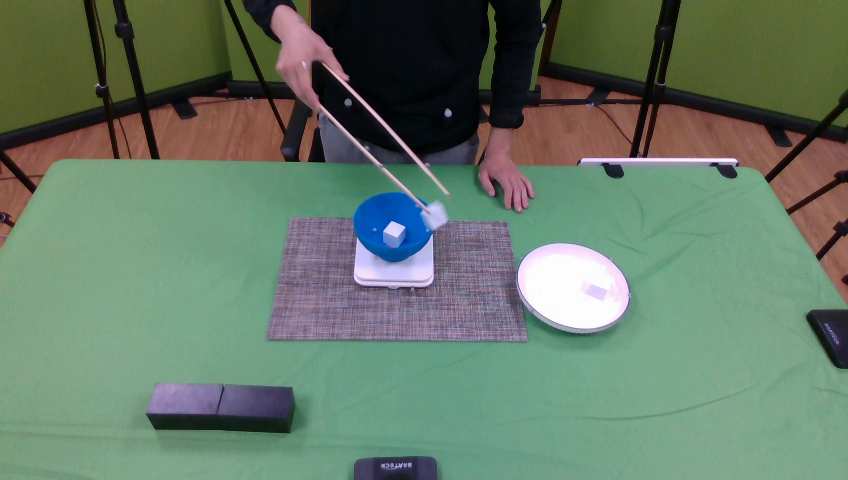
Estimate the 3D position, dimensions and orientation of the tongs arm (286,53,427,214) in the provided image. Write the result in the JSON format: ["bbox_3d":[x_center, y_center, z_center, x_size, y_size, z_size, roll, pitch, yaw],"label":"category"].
[{"bbox_3d":[-0.117,-0.190,1.058,0.383,0.026,0.051,43,91,14],"label":"tongs arm"}]

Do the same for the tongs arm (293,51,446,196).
[{"bbox_3d":[-0.096,-0.209,1.058,0.028,0.028,0.386,-45,76,5],"label":"tongs arm"}]

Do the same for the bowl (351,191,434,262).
[{"bbox_3d":[-0.058,-0.013,1.120,0.151,0.077,0.150,1,46,-1],"label":"bowl"}]

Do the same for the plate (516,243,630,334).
[{"bbox_3d":[0.272,0.092,1.120,0.208,0.039,0.206,2,46,-2],"label":"plate"}]

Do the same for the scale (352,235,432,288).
[{"bbox_3d":[-0.060,0.010,1.171,0.149,0.032,0.199,2,46,-3],"label":"scale"}]
